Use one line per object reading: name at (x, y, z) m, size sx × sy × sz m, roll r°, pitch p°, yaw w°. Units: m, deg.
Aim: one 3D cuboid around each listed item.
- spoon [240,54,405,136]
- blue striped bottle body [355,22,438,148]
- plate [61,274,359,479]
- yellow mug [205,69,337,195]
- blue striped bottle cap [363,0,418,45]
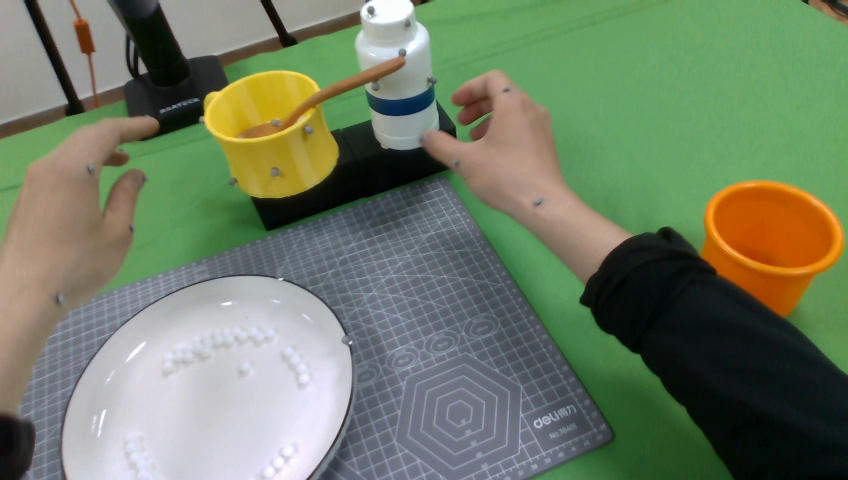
spoon at (-0.093, -0.113, 0.505) m, size 0.193 × 0.022 × 0.041 m, roll -20°, pitch 34°, yaw 36°
blue striped bottle body at (-0.023, -0.146, 0.531) m, size 0.063 × 0.122 × 0.062 m, roll -4°, pitch 49°, yaw 5°
plate at (-0.147, 0.117, 0.440) m, size 0.207 × 0.039 × 0.205 m, roll -3°, pitch 49°, yaw 4°
yellow mug at (-0.147, -0.102, 0.546) m, size 0.130 × 0.064 × 0.099 m, roll 19°, pitch 54°, yaw 23°
blue striped bottle cap at (-0.027, -0.179, 0.492) m, size 0.044 × 0.021 × 0.044 m, roll -5°, pitch 50°, yaw 7°
